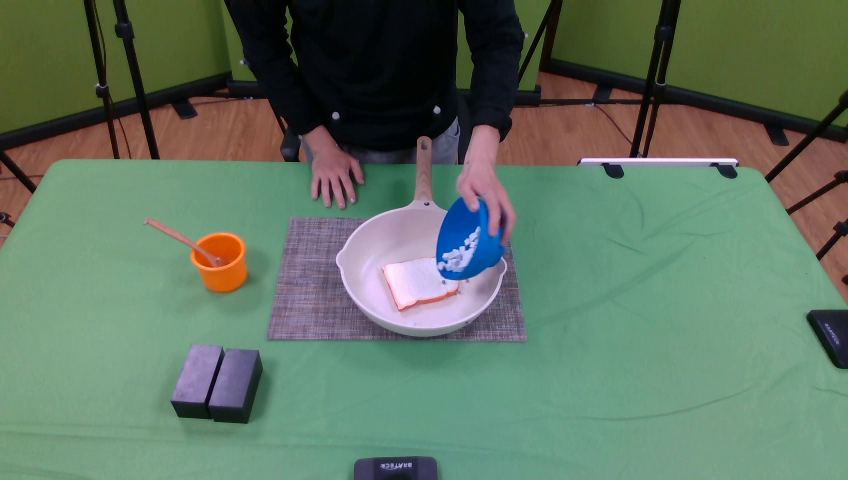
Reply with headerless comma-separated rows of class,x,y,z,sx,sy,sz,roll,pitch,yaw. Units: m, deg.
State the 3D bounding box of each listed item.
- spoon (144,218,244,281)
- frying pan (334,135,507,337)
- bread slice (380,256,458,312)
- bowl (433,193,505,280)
spoon,-0.401,0.015,1.064,0.195,0.021,0.041,41,37,-29
frying pan,-0.004,-0.026,1.160,0.307,0.103,0.485,4,55,-2
bread slice,-0.005,0.074,1.118,0.134,0.018,0.106,-16,50,-17
bowl,0.086,0.002,1.036,0.077,0.152,0.150,15,42,-24
